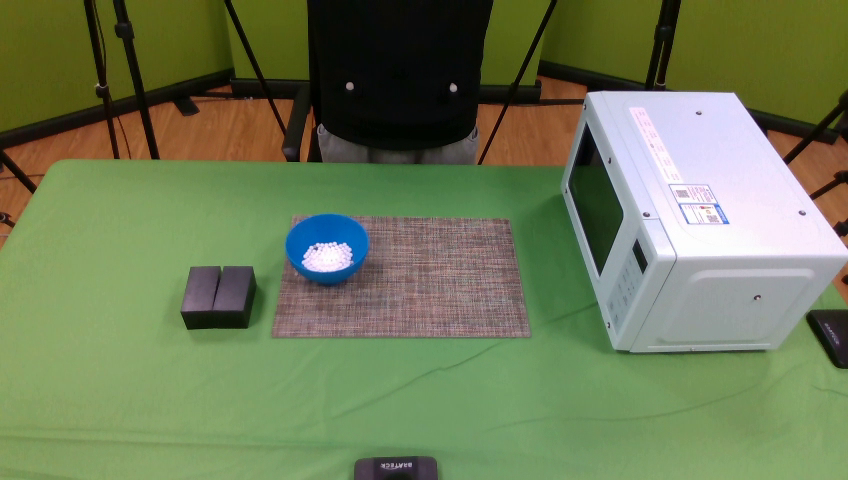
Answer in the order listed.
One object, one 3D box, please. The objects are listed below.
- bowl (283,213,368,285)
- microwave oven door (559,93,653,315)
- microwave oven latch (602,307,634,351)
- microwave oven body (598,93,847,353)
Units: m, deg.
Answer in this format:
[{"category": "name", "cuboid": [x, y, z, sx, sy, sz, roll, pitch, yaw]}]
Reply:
[{"category": "bowl", "cuboid": [-0.178, 0.030, 1.114, 0.151, 0.077, 0.150, 3, 45, -2]}, {"category": "microwave oven door", "cuboid": [0.327, -0.074, 1.123, 0.039, 0.245, 0.353, -1, 46, -5]}, {"category": "microwave oven latch", "cuboid": [0.332, 0.153, 1.043, 0.030, 0.029, 0.078, 0, 45, -4]}, {"category": "microwave oven body", "cuboid": [0.475, -0.041, 1.109, 0.326, 0.261, 0.438, -1, 45, -4]}]
